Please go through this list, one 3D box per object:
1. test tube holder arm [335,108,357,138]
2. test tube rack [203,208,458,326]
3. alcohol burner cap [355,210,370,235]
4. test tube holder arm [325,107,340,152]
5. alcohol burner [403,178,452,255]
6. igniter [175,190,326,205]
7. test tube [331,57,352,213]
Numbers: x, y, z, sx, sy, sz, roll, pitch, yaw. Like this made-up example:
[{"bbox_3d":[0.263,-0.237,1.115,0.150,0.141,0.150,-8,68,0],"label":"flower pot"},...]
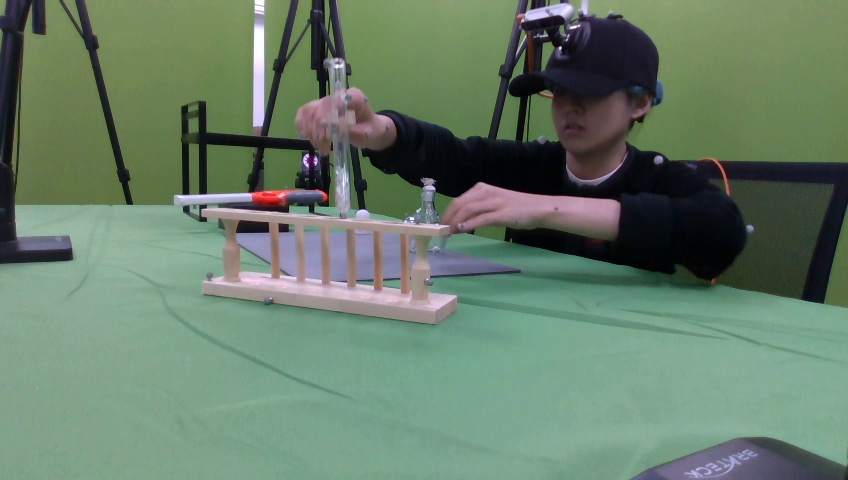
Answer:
[{"bbox_3d":[-0.080,-0.114,0.595,0.010,0.015,0.087,0,-1,-20],"label":"test tube holder arm"},{"bbox_3d":[-0.090,0.019,0.579,0.242,0.085,0.067,5,7,19],"label":"test tube rack"},{"bbox_3d":[-0.116,-0.033,1.136,0.034,0.048,0.034,2,7,0],"label":"alcohol burner cap"},{"bbox_3d":[-0.097,-0.114,0.637,0.013,0.015,0.178,1,-1,-12],"label":"test tube holder arm"},{"bbox_3d":[0.005,-0.036,0.922,0.078,0.119,0.078,4,7,0],"label":"alcohol burner"},{"bbox_3d":[-0.315,-0.079,1.128,0.278,0.025,0.057,-4,13,-34],"label":"igniter"},{"bbox_3d":[-0.077,-0.099,0.569,0.017,0.150,0.017,-3,-8,0],"label":"test tube"}]
